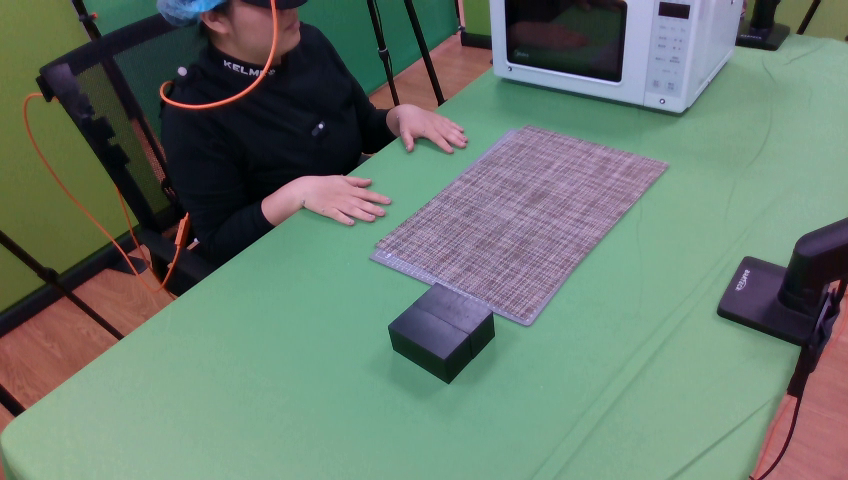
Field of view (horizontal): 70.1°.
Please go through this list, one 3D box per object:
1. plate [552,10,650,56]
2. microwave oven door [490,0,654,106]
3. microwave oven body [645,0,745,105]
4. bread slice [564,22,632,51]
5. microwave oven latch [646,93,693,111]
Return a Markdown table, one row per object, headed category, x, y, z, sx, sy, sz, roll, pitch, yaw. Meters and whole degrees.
| category | x | y | z | sx | sy | sz | roll | pitch | yaw |
| --- | --- | --- | --- | --- | --- | --- | --- | --- | --- |
| plate | 0.390 | -0.455 | 1.339 | 0.209 | 0.038 | 0.208 | -5 | 39 | 5 |
| microwave oven door | 0.292 | -0.420 | 1.228 | 0.353 | 0.245 | 0.039 | 22 | 49 | 32 |
| microwave oven body | 0.416 | -0.486 | 1.290 | 0.438 | 0.261 | 0.327 | 21 | 50 | 33 |
| bread slice | 0.394 | -0.454 | 1.344 | 0.105 | 0.019 | 0.130 | -36 | 43 | -26 |
| microwave oven latch | 0.477 | -0.273 | 1.177 | 0.078 | 0.029 | 0.030 | 22 | 50 | 33 |
